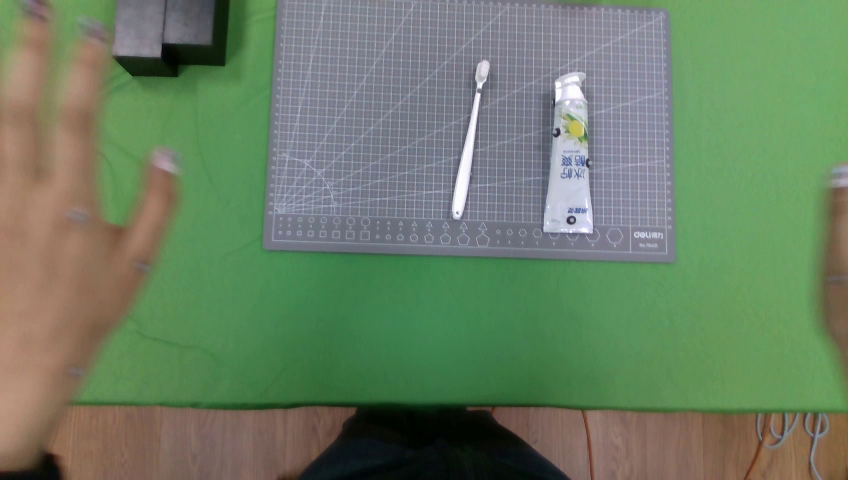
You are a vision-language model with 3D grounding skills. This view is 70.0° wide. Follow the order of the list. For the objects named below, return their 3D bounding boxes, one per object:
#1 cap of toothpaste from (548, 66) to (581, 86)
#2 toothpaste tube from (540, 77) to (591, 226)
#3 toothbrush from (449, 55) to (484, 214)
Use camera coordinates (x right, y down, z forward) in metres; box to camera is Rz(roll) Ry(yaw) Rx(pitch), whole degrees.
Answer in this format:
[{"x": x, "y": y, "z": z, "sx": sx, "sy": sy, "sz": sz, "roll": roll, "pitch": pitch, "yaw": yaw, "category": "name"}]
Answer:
[{"x": 0.156, "y": -0.179, "z": 0.668, "sx": 0.037, "sy": 0.037, "sz": 0.011, "roll": -11, "pitch": 81, "yaw": -5, "category": "cap of toothpaste"}, {"x": 0.154, "y": -0.098, "z": 0.665, "sx": 0.055, "sy": 0.034, "sz": 0.165, "roll": 0, "pitch": 87, "yaw": 4, "category": "toothpaste tube"}, {"x": 0.047, "y": -0.117, "z": 0.665, "sx": 0.014, "sy": 0.016, "sz": 0.181, "roll": 11, "pitch": 84, "yaw": -16, "category": "toothbrush"}]
